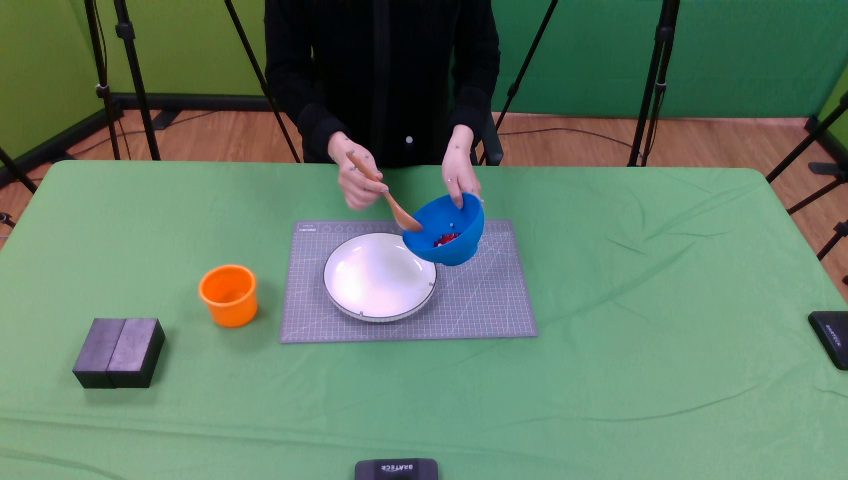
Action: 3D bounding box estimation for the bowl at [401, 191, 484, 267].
[{"bbox_3d":[0.044,-0.007,1.048,0.151,0.077,0.150,-22,33,15],"label":"bowl"}]

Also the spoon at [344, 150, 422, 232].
[{"bbox_3d":[-0.066,-0.076,0.988,0.041,0.195,0.021,-10,39,43],"label":"spoon"}]

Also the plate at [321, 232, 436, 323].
[{"bbox_3d":[-0.083,0.070,1.109,0.209,0.038,0.208,3,46,-3],"label":"plate"}]
